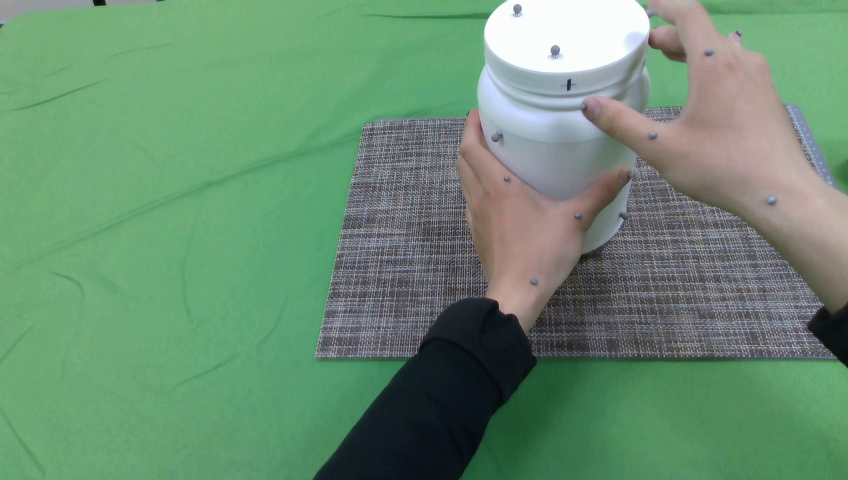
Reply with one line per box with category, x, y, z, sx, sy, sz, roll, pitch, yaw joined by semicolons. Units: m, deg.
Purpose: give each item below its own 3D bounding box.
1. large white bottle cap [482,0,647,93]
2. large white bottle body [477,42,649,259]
large white bottle cap;0.099;-0.146;0.433;0.115;0.018;0.113;-5;49;6
large white bottle body;0.110;-0.088;0.500;0.130;0.186;0.129;-4;50;5
